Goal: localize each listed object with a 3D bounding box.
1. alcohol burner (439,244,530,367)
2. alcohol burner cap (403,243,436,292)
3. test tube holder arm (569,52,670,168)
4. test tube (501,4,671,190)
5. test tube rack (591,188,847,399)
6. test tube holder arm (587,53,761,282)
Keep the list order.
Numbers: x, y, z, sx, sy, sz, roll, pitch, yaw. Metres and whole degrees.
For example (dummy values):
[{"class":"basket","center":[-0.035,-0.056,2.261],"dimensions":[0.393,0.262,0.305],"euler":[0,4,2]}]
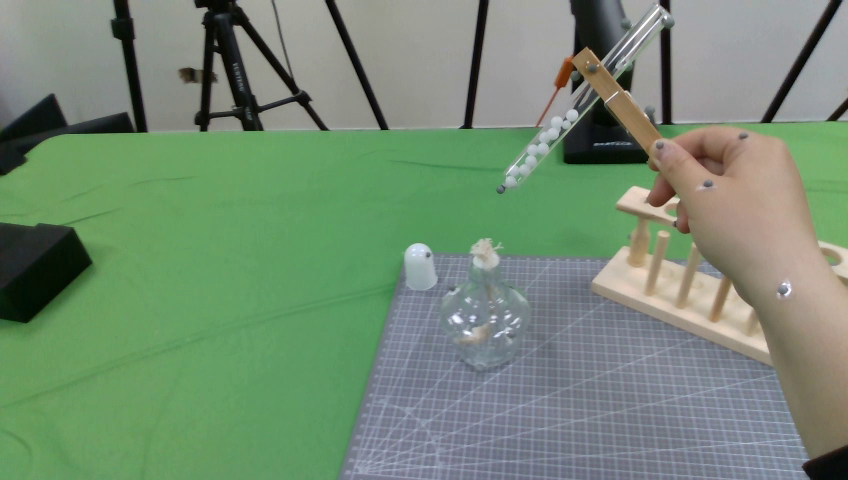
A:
[{"class":"alcohol burner","center":[0.050,0.050,0.502],"dimensions":[0.078,0.120,0.077],"euler":[-3,40,3]},{"class":"alcohol burner cap","center":[-0.005,0.024,0.601],"dimensions":[0.034,0.048,0.033],"euler":[-3,39,3]},{"class":"test tube holder arm","center":[0.126,-0.084,0.391],"dimensions":[0.087,0.015,0.010],"euler":[51,31,3]},{"class":"test tube","center":[0.103,-0.091,0.405],"dimensions":[0.017,0.150,0.017],"euler":[33,25,-17]},{"class":"test tube rack","center":[0.268,0.040,0.505],"dimensions":[0.240,0.086,0.066],"euler":[24,47,33]},{"class":"test tube holder arm","center":[0.155,-0.049,0.390],"dimensions":[0.177,0.015,0.013],"euler":[55,32,9]}]
